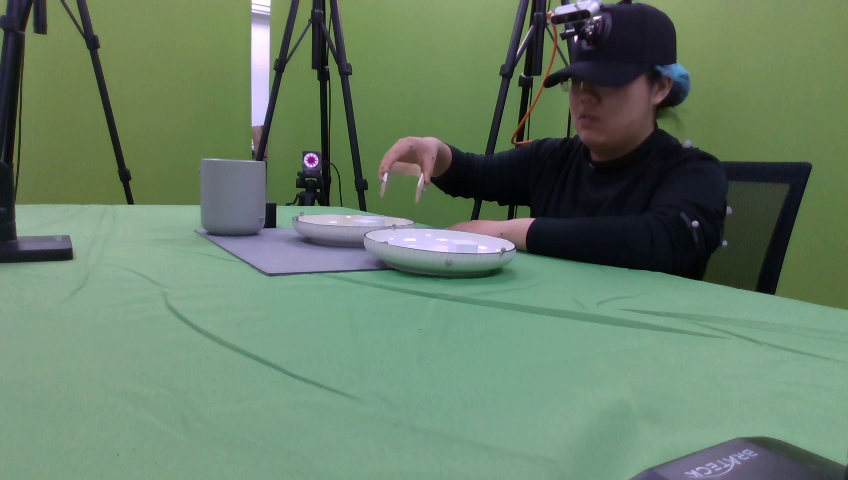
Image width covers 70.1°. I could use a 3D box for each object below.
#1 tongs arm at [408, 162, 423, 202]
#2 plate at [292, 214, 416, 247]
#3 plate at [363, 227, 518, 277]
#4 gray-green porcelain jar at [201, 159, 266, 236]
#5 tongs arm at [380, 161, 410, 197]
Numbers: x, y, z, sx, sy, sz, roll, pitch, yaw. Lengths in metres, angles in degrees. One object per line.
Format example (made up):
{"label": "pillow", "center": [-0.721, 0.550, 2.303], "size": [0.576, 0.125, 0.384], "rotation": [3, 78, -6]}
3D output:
{"label": "tongs arm", "center": [-0.015, -0.108, 1.072], "size": [0.028, 0.028, 0.387], "rotation": [4, 12, -2]}
{"label": "plate", "center": [-0.118, -0.017, 1.024], "size": [0.208, 0.039, 0.207], "rotation": [2, 7, 0]}
{"label": "plate", "center": [0.021, 0.016, 0.817], "size": [0.209, 0.038, 0.209], "rotation": [4, 9, 0]}
{"label": "gray-green porcelain jar", "center": [-0.326, -0.073, 1.036], "size": [0.106, 0.126, 0.106], "rotation": [3, 8, 0]}
{"label": "tongs arm", "center": [-0.047, -0.113, 1.071], "size": [0.051, 0.026, 0.384], "rotation": [7, 12, -4]}
